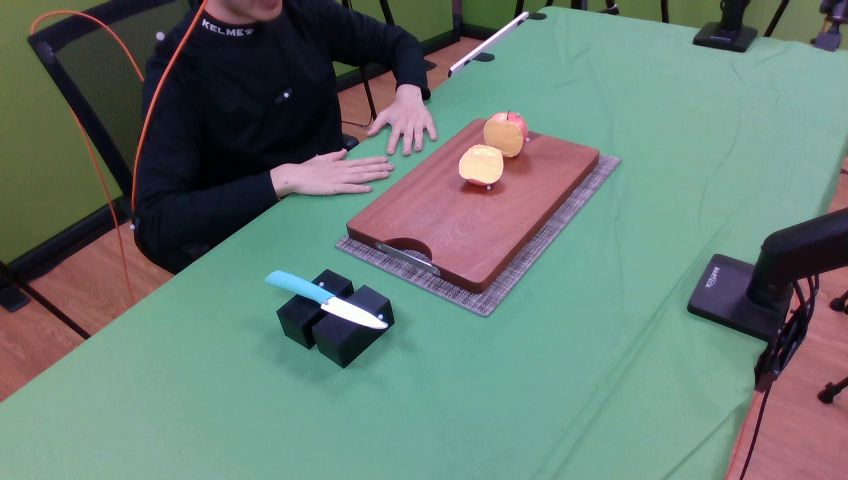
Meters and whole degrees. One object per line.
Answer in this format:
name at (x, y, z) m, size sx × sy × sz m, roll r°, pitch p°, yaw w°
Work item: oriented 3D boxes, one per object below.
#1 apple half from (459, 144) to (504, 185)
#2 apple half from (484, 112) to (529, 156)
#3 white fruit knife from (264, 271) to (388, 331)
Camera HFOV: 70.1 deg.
apple half at (0.102, -0.125, 1.040) m, size 0.081 × 0.033 × 0.081 m, roll -3°, pitch 65°, yaw 7°
apple half at (0.154, -0.195, 1.090) m, size 0.080 × 0.075 × 0.053 m, roll 13°, pitch 40°, yaw 28°
white fruit knife at (-0.134, 0.082, 0.824) m, size 0.206 × 0.016 × 0.027 m, roll 20°, pitch 71°, yaw 25°
